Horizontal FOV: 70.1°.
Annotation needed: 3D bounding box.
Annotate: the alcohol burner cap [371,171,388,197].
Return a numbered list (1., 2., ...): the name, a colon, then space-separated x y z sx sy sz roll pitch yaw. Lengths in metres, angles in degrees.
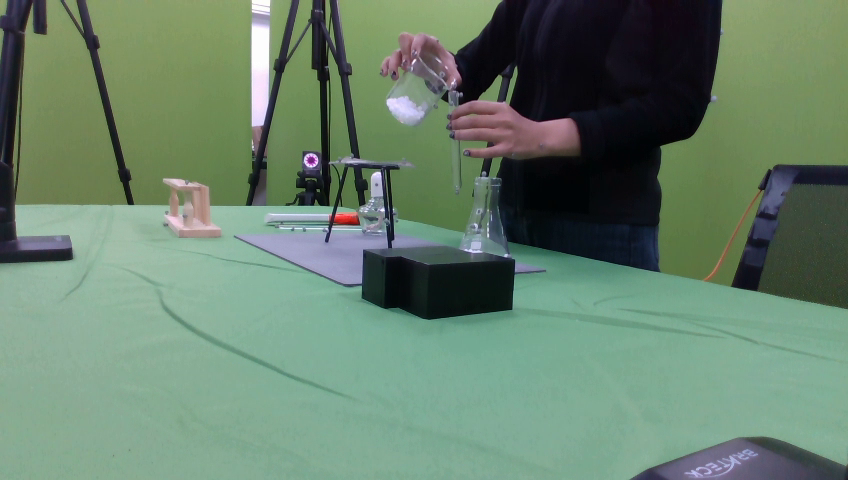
1. alcohol burner cap: -0.085 -0.104 1.120 0.034 0.048 0.034 -5 8 1

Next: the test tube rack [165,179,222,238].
1. test tube rack: -0.422 -0.062 1.098 0.067 0.085 0.241 -2 9 -28

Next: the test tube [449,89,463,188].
1. test tube: 0.048 -0.154 0.916 0.017 0.150 0.017 -2 0 0

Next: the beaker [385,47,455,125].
1. beaker: -0.008 -0.237 0.954 0.074 0.083 0.100 -9 -31 -53

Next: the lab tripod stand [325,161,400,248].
1. lab tripod stand: -0.083 -0.059 0.977 0.148 0.131 0.148 4 8 0

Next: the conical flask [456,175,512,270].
1. conical flask: 0.082 -0.025 0.801 0.075 0.122 0.075 2 7 0

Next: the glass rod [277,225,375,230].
1. glass rod: -0.187 -0.024 1.178 0.201 0.008 0.008 1 6 -31

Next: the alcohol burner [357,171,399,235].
1. alcohol burner: -0.085 -0.069 1.125 0.078 0.119 0.078 3 10 0

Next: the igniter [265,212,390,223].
1. igniter: -0.196 -0.048 1.285 0.278 0.025 0.057 -2 -2 -30

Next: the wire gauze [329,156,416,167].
1. wire gauze: -0.079 -0.126 0.972 0.121 0.011 0.125 4 8 5
